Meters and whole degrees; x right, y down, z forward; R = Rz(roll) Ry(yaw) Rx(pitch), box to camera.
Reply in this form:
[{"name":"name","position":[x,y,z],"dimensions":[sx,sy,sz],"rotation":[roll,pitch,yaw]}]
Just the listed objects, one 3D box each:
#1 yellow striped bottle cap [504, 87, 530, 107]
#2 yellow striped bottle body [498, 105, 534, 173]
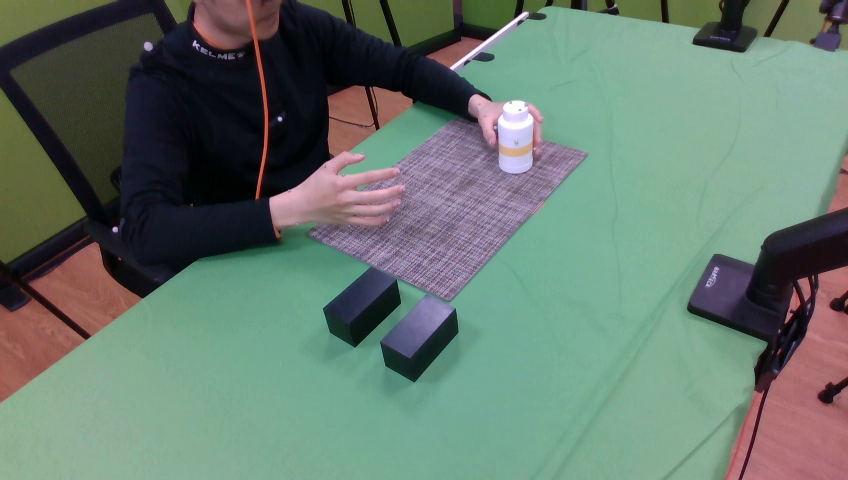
[{"name":"yellow striped bottle cap","position":[0.159,-0.244,1.033],"dimensions":[0.044,0.019,0.044],"rotation":[-7,34,5]},{"name":"yellow striped bottle body","position":[0.164,-0.186,1.078],"dimensions":[0.063,0.121,0.062],"rotation":[-5,41,4]}]
